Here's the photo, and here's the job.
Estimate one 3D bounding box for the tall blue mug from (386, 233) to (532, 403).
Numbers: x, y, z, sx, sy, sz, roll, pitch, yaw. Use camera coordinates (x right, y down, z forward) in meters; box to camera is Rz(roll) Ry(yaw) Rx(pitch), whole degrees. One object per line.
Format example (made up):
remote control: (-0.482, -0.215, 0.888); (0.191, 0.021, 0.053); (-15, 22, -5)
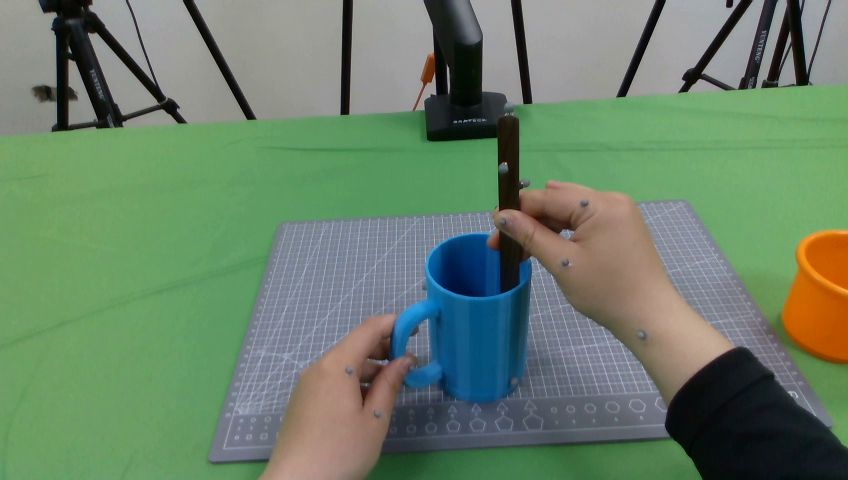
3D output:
tall blue mug: (0.031, 0.068, 0.449); (0.077, 0.109, 0.107); (18, 42, 25)

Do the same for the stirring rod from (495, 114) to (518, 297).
stirring rod: (0.056, 0.001, 0.405); (0.014, 0.177, 0.006); (1, 31, 10)
